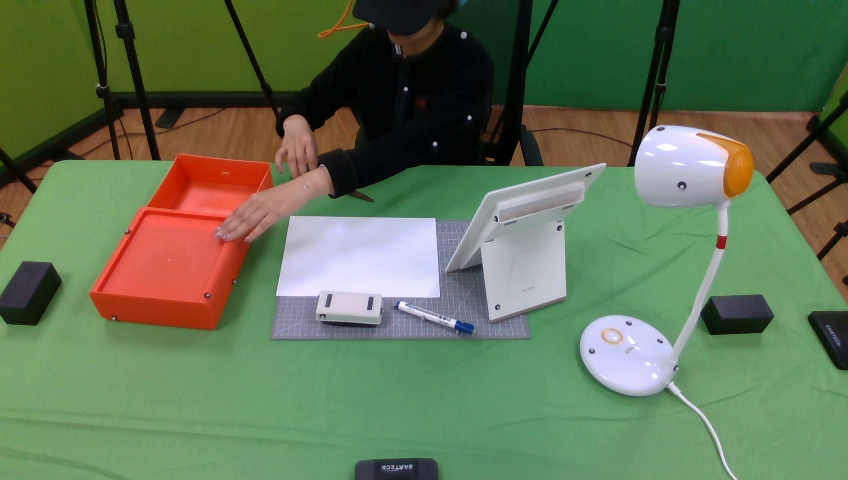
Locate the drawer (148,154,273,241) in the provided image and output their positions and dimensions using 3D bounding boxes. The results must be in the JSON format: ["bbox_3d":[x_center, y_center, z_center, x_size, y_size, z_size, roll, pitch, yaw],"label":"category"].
[{"bbox_3d":[-0.425,-0.075,1.201,0.194,0.073,0.210,7,45,1],"label":"drawer"}]

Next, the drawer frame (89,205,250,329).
[{"bbox_3d":[-0.441,0.043,1.080,0.202,0.083,0.212,5,47,0],"label":"drawer frame"}]

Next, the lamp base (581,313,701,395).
[{"bbox_3d":[0.361,0.144,0.972,0.178,0.181,0.160,34,53,23],"label":"lamp base"}]

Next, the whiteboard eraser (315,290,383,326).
[{"bbox_3d":[-0.130,0.120,1.054,0.113,0.042,0.055,4,47,0],"label":"whiteboard eraser"}]

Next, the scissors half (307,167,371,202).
[{"bbox_3d":[-0.181,-0.120,1.312,0.174,0.013,0.040,29,34,20],"label":"scissors half"}]

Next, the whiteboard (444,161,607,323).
[{"bbox_3d":[0.186,0.025,1.029,0.217,0.306,0.143,-14,68,-18],"label":"whiteboard"}]

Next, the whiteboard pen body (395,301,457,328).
[{"bbox_3d":[0.015,0.134,1.064,0.140,0.017,0.017,17,47,16],"label":"whiteboard pen body"}]

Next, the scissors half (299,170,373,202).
[{"bbox_3d":[-0.189,-0.112,1.296,0.175,0.013,0.040,19,37,7],"label":"scissors half"}]

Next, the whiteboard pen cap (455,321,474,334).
[{"bbox_3d":[0.069,0.151,1.046,0.033,0.018,0.018,14,47,16],"label":"whiteboard pen cap"}]

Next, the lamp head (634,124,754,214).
[{"bbox_3d":[0.351,-0.089,0.775,0.112,0.113,0.122,-30,30,-28],"label":"lamp head"}]
